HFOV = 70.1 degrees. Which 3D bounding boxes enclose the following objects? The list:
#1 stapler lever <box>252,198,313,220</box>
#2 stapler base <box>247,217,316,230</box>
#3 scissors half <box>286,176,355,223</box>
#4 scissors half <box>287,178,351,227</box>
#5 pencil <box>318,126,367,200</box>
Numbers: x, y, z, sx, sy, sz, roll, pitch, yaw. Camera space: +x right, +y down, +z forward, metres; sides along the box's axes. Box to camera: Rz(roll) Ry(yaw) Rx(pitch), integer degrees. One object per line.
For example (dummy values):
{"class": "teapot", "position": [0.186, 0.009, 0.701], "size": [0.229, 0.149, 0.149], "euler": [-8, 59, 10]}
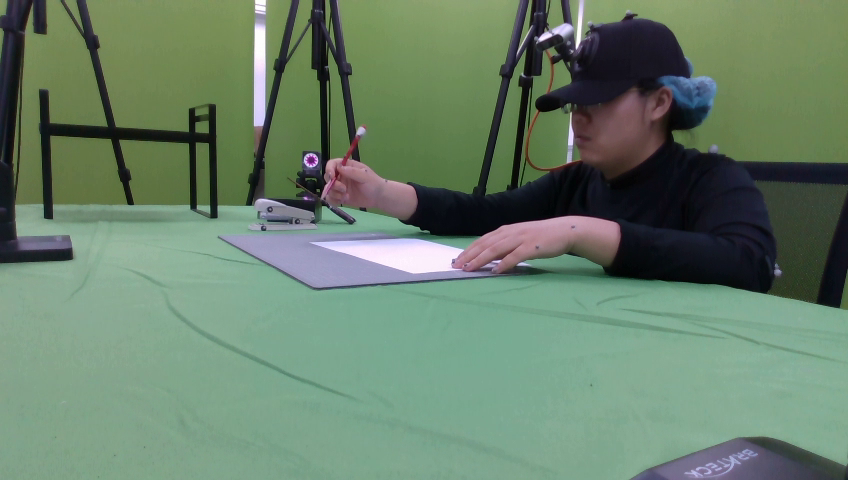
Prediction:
{"class": "stapler lever", "position": [-0.273, -0.058, 1.170], "size": [0.119, 0.040, 0.026], "euler": [0, 10, -37]}
{"class": "stapler base", "position": [-0.276, -0.033, 1.172], "size": [0.131, 0.024, 0.041], "euler": [0, 10, -37]}
{"class": "scissors half", "position": [-0.229, -0.091, 1.337], "size": [0.175, 0.013, 0.040], "euler": [33, 15, -13]}
{"class": "scissors half", "position": [-0.232, -0.085, 1.317], "size": [0.175, 0.013, 0.040], "euler": [38, 20, 5]}
{"class": "pencil", "position": [-0.139, -0.134, 1.036], "size": [0.012, 0.012, 0.194], "euler": [6, 49, 23]}
